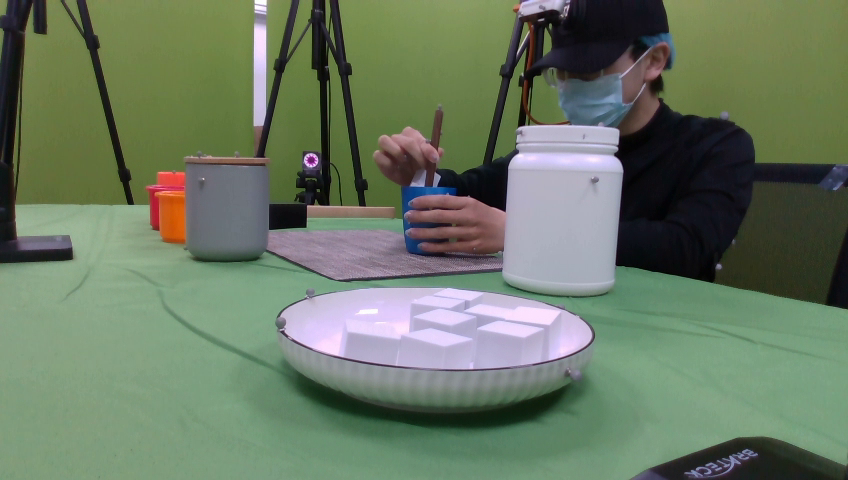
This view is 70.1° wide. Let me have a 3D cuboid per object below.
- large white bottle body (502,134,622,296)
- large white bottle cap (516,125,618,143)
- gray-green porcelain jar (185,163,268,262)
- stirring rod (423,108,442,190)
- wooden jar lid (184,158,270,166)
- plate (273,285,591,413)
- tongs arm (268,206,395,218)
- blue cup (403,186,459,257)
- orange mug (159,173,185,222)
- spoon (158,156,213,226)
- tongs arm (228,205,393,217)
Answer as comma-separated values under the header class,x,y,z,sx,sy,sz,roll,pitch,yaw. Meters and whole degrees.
class,x,y,z,sx,sy,sz,roll,pitch,yaw
large white bottle body,0.160,-0.037,0.706,0.131,0.184,0.130,2,7,0
large white bottle cap,0.163,-0.120,0.695,0.115,0.018,0.115,2,8,0
gray-green porcelain jar,-0.263,-0.038,0.808,0.106,0.126,0.106,3,8,0
stirring rod,0.009,-0.103,0.883,0.014,0.176,0.006,14,11,35
wooden jar lid,-0.260,-0.099,0.801,0.108,0.020,0.108,0,9,0
plate,0.005,0.069,0.407,0.208,0.039,0.207,2,7,0
tongs arm,-0.230,-0.064,1.379,0.387,0.026,0.050,-1,2,-31
blue cup,0.007,-0.028,0.914,0.093,0.100,0.092,4,9,0
orange mug,-0.477,-0.089,1.241,0.127,0.101,0.083,-7,11,-33
spoon,-0.435,-0.094,1.121,0.041,0.022,0.193,5,51,14
tongs arm,-0.267,-0.069,1.453,0.389,0.027,0.028,0,-2,-18
